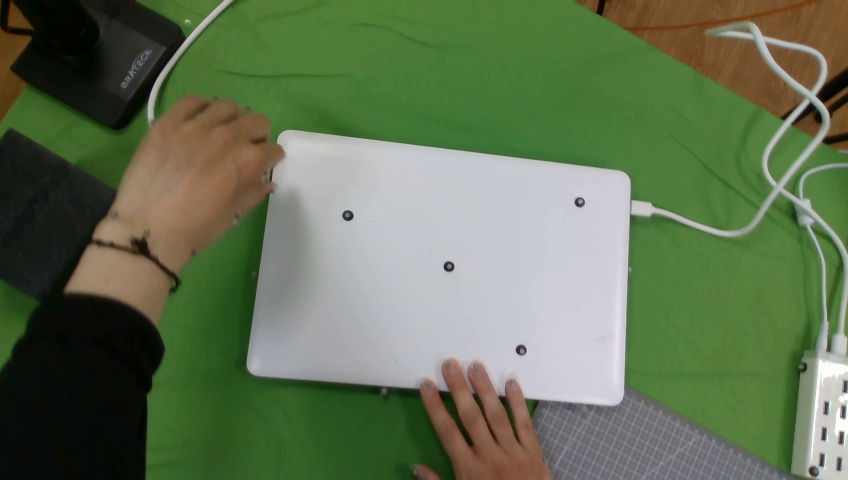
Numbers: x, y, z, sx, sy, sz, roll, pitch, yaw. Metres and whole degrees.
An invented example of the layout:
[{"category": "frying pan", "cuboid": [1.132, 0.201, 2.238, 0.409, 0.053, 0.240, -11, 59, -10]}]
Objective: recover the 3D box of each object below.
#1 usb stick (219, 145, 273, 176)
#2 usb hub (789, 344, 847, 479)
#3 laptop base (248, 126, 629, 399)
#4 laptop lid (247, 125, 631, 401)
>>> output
[{"category": "usb stick", "cuboid": [-0.160, -0.074, 0.570, 0.059, 0.027, 0.021, 5, 80, -11]}, {"category": "usb hub", "cuboid": [0.397, 0.169, 0.600, 0.049, 0.025, 0.124, 14, 78, -3]}, {"category": "laptop base", "cuboid": [0.023, 0.021, 0.590, 0.355, 0.023, 0.234, 6, 82, -5]}, {"category": "laptop lid", "cuboid": [0.024, 0.022, 0.576, 0.357, 0.013, 0.241, 8, 81, -5]}]
